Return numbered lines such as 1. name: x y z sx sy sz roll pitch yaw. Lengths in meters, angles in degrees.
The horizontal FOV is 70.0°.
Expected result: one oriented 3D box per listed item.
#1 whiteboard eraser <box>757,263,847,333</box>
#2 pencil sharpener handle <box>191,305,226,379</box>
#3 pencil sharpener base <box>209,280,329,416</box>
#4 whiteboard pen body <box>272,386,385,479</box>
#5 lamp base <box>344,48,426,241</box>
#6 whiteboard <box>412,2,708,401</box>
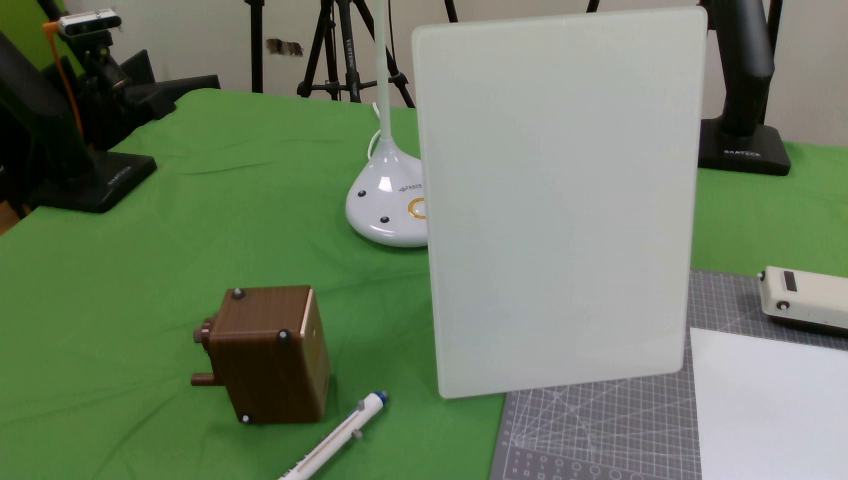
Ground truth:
1. whiteboard eraser: 0.377 0.057 0.569 0.112 0.042 0.055 11 41 15
2. pencil sharpener handle: -0.177 0.085 0.488 0.030 0.068 0.035 -2 27 1
3. pencil sharpener base: -0.125 0.091 0.498 0.077 0.108 0.061 -2 39 1
4. whiteboard pen body: -0.081 0.163 0.476 0.017 0.017 0.140 25 44 30
5. lamp base: -0.025 -0.116 0.697 0.161 0.182 0.177 -23 40 -24
6. whiteboard: 0.104 -0.038 0.539 0.217 0.307 0.143 -5 19 -3
